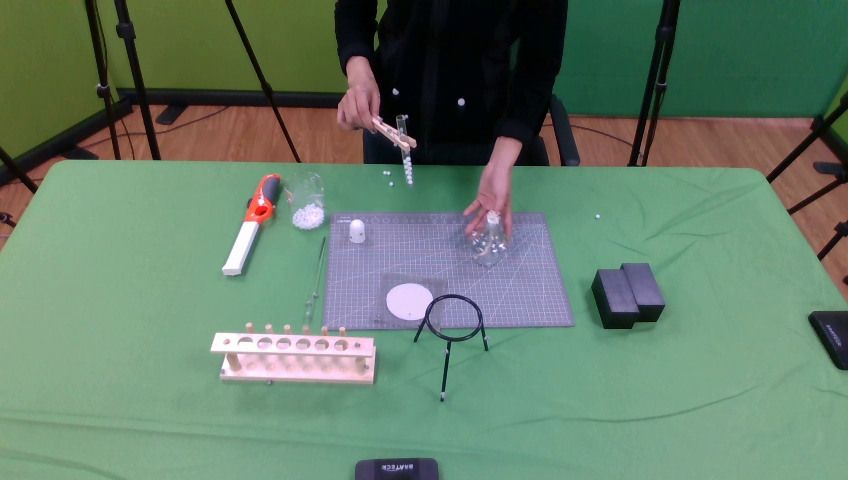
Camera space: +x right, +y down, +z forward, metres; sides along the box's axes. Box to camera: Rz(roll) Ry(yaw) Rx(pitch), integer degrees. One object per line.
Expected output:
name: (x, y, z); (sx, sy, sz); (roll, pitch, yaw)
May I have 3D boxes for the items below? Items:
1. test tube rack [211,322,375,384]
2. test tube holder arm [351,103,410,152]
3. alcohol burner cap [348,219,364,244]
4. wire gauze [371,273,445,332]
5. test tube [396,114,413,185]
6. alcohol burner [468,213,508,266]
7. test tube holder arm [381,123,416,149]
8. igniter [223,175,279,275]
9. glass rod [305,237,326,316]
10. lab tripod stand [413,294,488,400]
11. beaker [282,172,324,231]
test tube rack: (-0.203, 0.176, 0.969); (0.242, 0.085, 0.066); (3, 46, -2)
test tube holder arm: (-0.083, -0.209, 1.116); (0.013, 0.015, 0.177); (-31, 52, -25)
alcohol burner cap: (-0.134, -0.019, 1.190); (0.034, 0.048, 0.033); (2, 46, -2)
wire gauze: (-0.028, 0.108, 1.100); (0.125, 0.011, 0.121); (7, 45, 4)
test tube: (-0.035, -0.160, 1.096); (0.017, 0.151, 0.017); (-4, 45, 4)
alcohol burner: (0.124, -0.007, 1.150); (0.078, 0.119, 0.077); (4, 47, -4)
test tube holder arm: (-0.049, -0.189, 1.094); (0.087, 0.015, 0.010); (33, 56, 30)
igniter: (-0.341, -0.039, 1.206); (0.057, 0.025, 0.275); (-1, 45, 8)
glass rod: (-0.202, 0.063, 1.131); (0.008, 0.008, 0.198); (4, 44, 0)
lab tripod stand: (0.044, 0.159, 0.972); (0.148, 0.132, 0.147); (2, 44, -2)
beaker: (-0.234, -0.073, 1.199); (0.084, 0.101, 0.074); (24, 50, 17)
